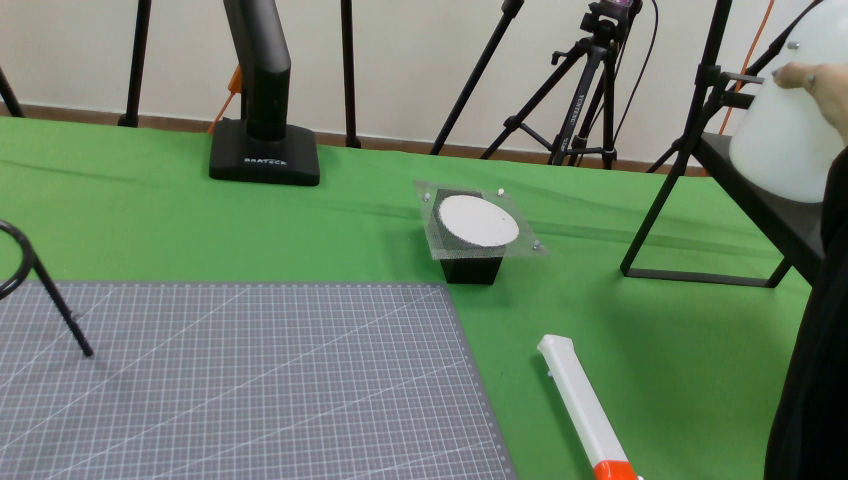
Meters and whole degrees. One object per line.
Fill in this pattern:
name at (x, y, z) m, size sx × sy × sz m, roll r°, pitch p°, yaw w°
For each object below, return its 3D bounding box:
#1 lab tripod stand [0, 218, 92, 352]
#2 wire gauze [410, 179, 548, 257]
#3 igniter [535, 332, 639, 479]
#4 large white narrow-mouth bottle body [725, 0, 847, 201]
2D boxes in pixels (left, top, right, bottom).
lab tripod stand at (-0.274, 0.063, 0.362) m, size 0.149 × 0.132 × 0.147 m, roll 12°, pitch 37°, yaw -8°
wire gauze at (0.053, -0.023, 0.623) m, size 0.122 × 0.011 × 0.123 m, roll 3°, pitch 38°, yaw -18°
igniter at (0.143, 0.177, 0.457) m, size 0.057 × 0.025 × 0.273 m, roll 12°, pitch 35°, yaw -23°
large white narrow-mouth bottle body at (0.334, -0.135, 0.491) m, size 0.102 × 0.196 × 0.101 m, roll 9°, pitch 37°, yaw -6°
